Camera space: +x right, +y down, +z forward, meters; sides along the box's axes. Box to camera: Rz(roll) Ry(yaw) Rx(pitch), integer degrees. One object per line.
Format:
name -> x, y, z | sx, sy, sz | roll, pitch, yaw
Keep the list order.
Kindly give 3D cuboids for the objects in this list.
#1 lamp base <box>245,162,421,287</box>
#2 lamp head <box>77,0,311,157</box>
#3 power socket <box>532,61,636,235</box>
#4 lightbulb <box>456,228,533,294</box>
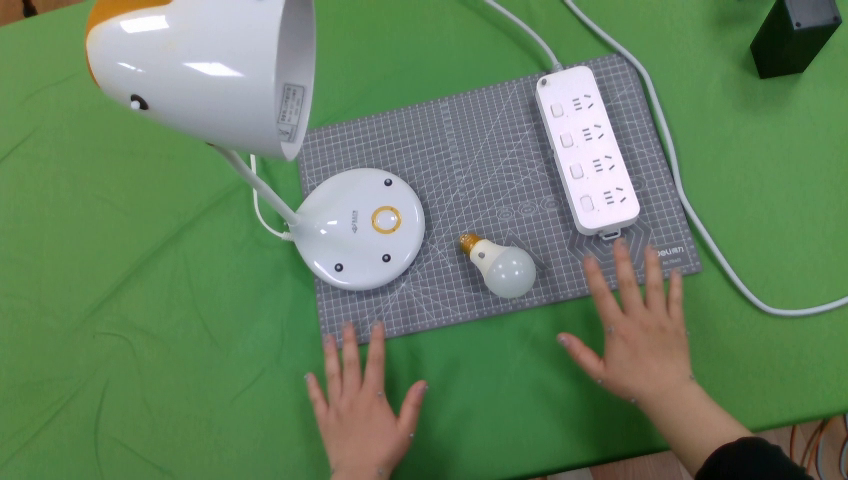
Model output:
lamp base -> -0.107, -0.038, 0.675 | 0.179, 0.181, 0.159 | -16, 72, 7
lamp head -> -0.135, -0.110, 0.366 | 0.123, 0.113, 0.112 | 5, 75, 3
power socket -> 0.189, -0.116, 0.729 | 0.072, 0.033, 0.225 | -14, 72, 4
lightbulb -> 0.078, 0.019, 0.700 | 0.106, 0.060, 0.059 | 37, 83, 32
